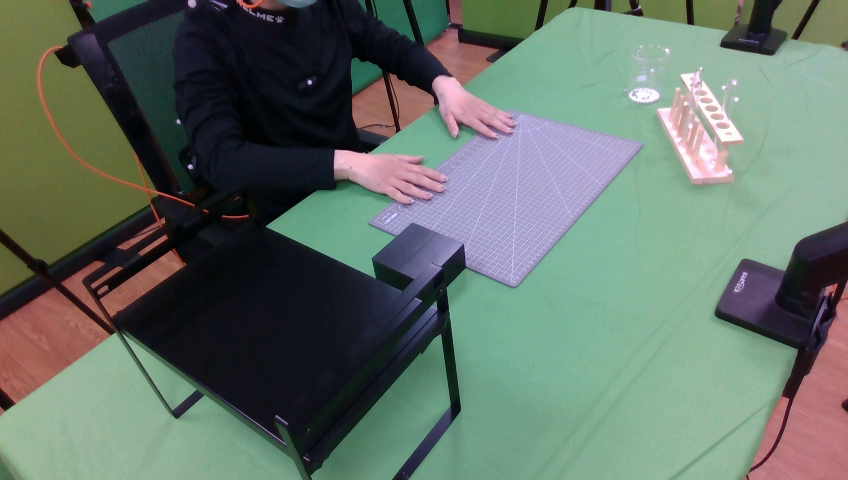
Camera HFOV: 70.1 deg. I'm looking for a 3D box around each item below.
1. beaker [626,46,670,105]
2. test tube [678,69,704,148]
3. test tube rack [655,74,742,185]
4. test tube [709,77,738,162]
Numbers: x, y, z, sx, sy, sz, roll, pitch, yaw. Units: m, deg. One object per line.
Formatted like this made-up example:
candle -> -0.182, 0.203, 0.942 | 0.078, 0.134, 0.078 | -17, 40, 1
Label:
beaker -> 0.457, -0.336, 1.240 | 0.084, 0.101, 0.073 | -12, 41, -6
test tube -> 0.465, -0.228, 1.054 | 0.017, 0.151, 0.017 | -4, 41, 4
test tube rack -> 0.488, -0.205, 1.093 | 0.067, 0.085, 0.241 | -3, 41, 5
test tube -> 0.498, -0.198, 1.008 | 0.017, 0.151, 0.017 | -3, 37, 3
